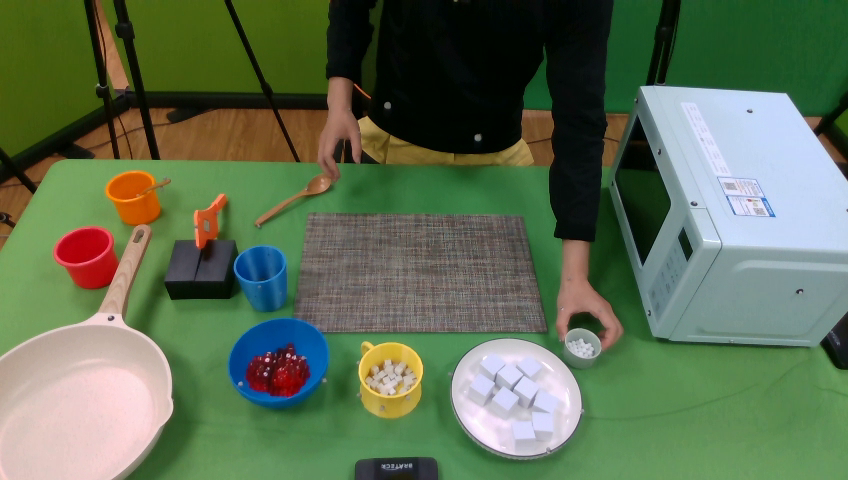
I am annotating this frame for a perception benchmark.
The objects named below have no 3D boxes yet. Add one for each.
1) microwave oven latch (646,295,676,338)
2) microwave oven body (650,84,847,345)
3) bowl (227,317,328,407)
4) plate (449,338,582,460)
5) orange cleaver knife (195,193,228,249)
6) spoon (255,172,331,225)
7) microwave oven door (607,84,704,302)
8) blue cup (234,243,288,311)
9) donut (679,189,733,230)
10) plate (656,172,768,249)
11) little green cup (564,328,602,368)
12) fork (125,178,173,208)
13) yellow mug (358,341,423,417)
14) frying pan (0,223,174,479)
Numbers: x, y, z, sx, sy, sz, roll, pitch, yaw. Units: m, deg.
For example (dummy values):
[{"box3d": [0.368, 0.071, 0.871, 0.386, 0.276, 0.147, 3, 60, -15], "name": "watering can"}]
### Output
[{"box3d": [0.412, 0.133, 1.060, 0.030, 0.029, 0.078, 3, 46, 0], "name": "microwave oven latch"}, {"box3d": [0.569, -0.054, 1.116, 0.326, 0.261, 0.439, 2, 46, -1], "name": "microwave oven body"}, {"box3d": [-0.222, 0.203, 0.947, 0.151, 0.077, 0.150, 2, 46, -2], "name": "bowl"}, {"box3d": [0.141, 0.251, 0.955, 0.208, 0.039, 0.206, 2, 46, -2], "name": "plate"}, {"box3d": [-0.406, -0.041, 1.163, 0.012, 0.077, 0.210, 0, 18, -3], "name": "orange cleaver knife"}, {"box3d": [-0.272, -0.087, 1.257, 0.041, 0.022, 0.193, 43, 57, 17], "name": "spoon"}, {"box3d": [0.424, -0.096, 1.138, 0.039, 0.245, 0.353, 2, 47, -1], "name": "microwave oven door"}, {"box3d": [-0.276, 0.072, 1.052, 0.093, 0.101, 0.092, 1, 48, -1], "name": "blue cup"}, {"box3d": [0.545, -0.061, 1.176, 0.099, 0.048, 0.098, 0, 45, 0], "name": "donut"}, {"box3d": [0.557, -0.054, 1.186, 0.209, 0.038, 0.208, 1, 45, -1], "name": "plate"}, {"box3d": [0.266, 0.184, 1.023, 0.061, 0.039, 0.061, 1, 44, -1], "name": "little green cup"}, {"box3d": [-0.525, -0.090, 1.153, 0.207, 0.019, 0.028, -17, 27, 45], "name": "fork"}, {"box3d": [-0.062, 0.210, 0.961, 0.100, 0.064, 0.130, -29, 54, -27], "name": "yellow mug"}, {"box3d": [-0.504, 0.169, 0.941, 0.307, 0.103, 0.485, 5, 54, -1], "name": "frying pan"}]
